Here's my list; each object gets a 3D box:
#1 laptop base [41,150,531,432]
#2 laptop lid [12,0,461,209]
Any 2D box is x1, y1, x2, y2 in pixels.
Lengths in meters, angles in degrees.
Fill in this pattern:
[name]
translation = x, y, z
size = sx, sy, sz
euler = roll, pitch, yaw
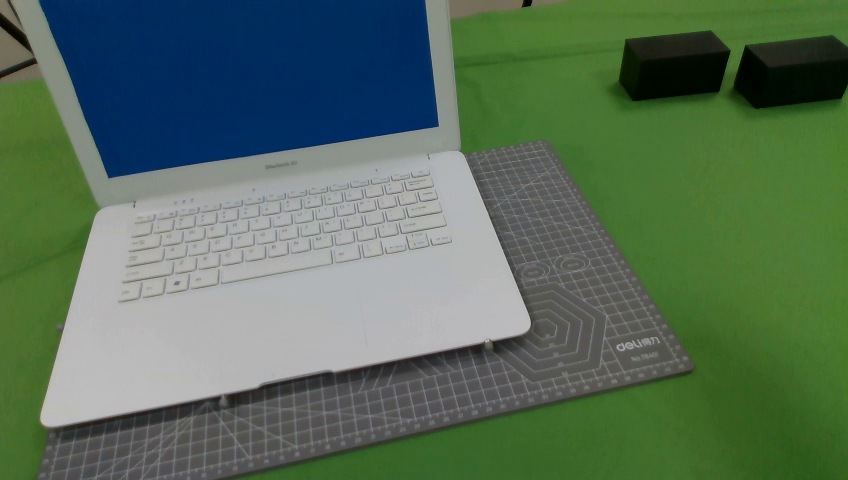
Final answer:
[laptop base]
translation = -0.112, 0.025, 0.513
size = 0.355, 0.023, 0.233
euler = -10, 47, -6
[laptop lid]
translation = -0.147, -0.156, 0.538
size = 0.357, 0.243, 0.013
euler = -12, 30, -5
